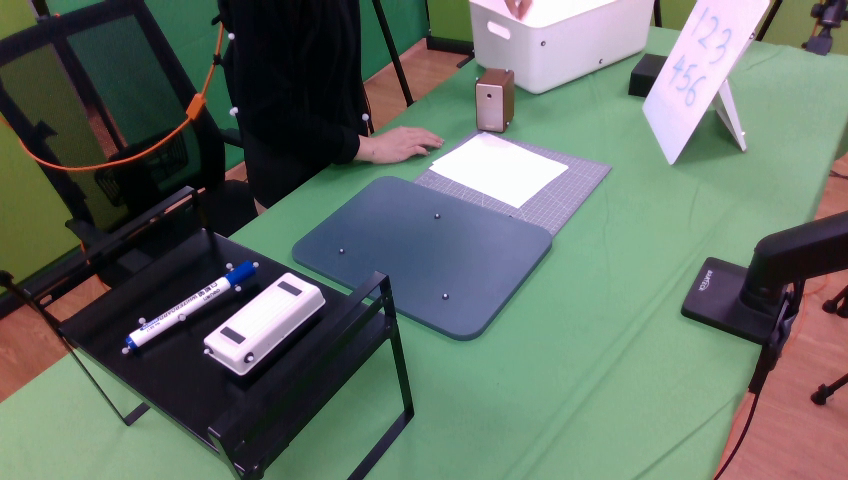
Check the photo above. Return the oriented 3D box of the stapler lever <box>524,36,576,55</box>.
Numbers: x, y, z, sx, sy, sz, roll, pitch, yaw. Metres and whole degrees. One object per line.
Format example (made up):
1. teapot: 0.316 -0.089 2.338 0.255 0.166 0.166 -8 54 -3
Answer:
1. stapler lever: 0.296 -0.456 1.418 0.117 0.040 0.027 4 40 17

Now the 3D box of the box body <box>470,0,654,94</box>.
1. box body: 0.319 -0.498 1.405 0.365 0.161 0.252 -26 43 -21

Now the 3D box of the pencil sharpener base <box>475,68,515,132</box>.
1. pencil sharpener base: 0.146 -0.284 1.222 0.061 0.107 0.077 11 43 22

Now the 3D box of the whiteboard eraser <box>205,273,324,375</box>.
1. whiteboard eraser: -0.157 0.084 0.605 0.055 0.042 0.113 24 49 30

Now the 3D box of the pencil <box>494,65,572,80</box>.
1. pencil: 0.249 -0.390 1.399 0.192 0.012 0.012 18 46 27

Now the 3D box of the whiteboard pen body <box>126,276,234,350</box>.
1. whiteboard pen body: -0.251 0.071 0.649 0.141 0.017 0.017 -36 48 -26

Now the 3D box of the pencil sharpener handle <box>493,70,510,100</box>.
1. pencil sharpener handle: 0.166 -0.324 1.248 0.036 0.068 0.030 10 43 23

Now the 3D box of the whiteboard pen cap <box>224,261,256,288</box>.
1. whiteboard pen cap: -0.207 0.039 0.677 0.033 0.018 0.018 -36 47 -18

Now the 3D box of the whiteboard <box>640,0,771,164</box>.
1. whiteboard: 0.543 -0.299 1.076 0.144 0.305 0.216 12 40 -7

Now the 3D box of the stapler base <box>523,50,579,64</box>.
1. stapler base: 0.301 -0.436 1.434 0.130 0.024 0.041 5 40 17

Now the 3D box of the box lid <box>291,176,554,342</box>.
1. box lid: -0.005 0.011 0.972 0.368 0.015 0.264 21 49 30
